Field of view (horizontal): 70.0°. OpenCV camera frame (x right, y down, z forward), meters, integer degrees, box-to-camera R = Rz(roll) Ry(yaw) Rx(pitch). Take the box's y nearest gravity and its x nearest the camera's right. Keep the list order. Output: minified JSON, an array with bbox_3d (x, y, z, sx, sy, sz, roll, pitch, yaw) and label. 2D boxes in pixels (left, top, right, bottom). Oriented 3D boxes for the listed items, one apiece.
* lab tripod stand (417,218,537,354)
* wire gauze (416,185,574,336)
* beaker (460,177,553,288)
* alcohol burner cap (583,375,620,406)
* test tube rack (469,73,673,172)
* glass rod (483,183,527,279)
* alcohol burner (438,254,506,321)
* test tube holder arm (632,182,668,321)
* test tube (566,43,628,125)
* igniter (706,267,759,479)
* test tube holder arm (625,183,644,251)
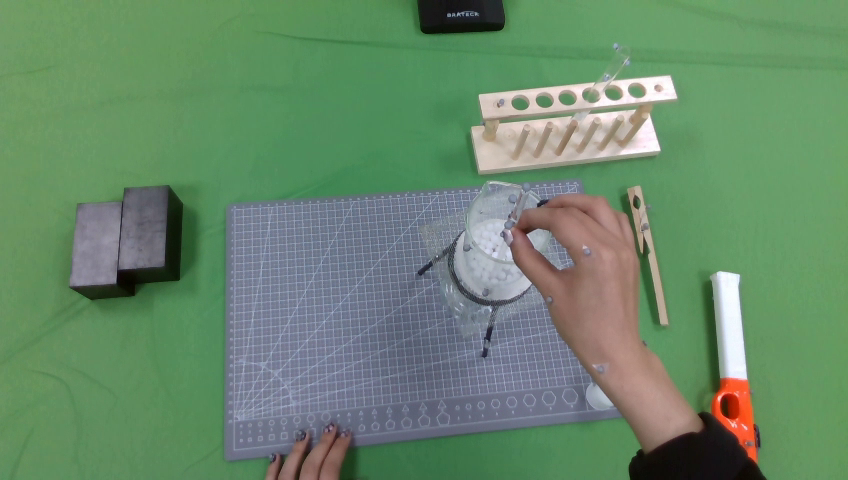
[{"bbox_3d":[0.061,0.041,0.662,0.148,0.132,0.147,1,71,-1],"label":"lab tripod stand"},{"bbox_3d":[0.069,0.016,0.602,0.121,0.011,0.124,-21,74,-7],"label":"wire gauze"},{"bbox_3d":[0.069,-0.003,0.558,0.074,0.101,0.083,-20,71,-8],"label":"beaker"},{"bbox_3d":[0.200,0.165,0.675,0.034,0.048,0.033,1,69,-3],"label":"alcohol burner cap"},{"bbox_3d":[0.185,-0.148,0.767,0.243,0.085,0.066,-7,70,-6],"label":"test tube rack"},{"bbox_3d":[0.063,-0.001,0.497,0.008,0.201,0.008,1,69,-2],"label":"glass rod"},{"bbox_3d":[0.055,0.047,0.671,0.078,0.120,0.077,1,68,-2],"label":"alcohol burner"},{"bbox_3d":[0.278,0.012,0.749,0.013,0.015,0.177,-16,69,26],"label":"test tube holder arm"},{"bbox_3d":[0.204,-0.182,0.728,0.017,0.151,0.017,3,68,-8],"label":"test tube"},{"bbox_3d":[0.351,0.165,0.695,0.057,0.025,0.274,9,69,-11],"label":"igniter"},{"bbox_3d":[0.268,-0.029,0.766,0.010,0.015,0.087,-16,69,26],"label":"test tube holder arm"}]
